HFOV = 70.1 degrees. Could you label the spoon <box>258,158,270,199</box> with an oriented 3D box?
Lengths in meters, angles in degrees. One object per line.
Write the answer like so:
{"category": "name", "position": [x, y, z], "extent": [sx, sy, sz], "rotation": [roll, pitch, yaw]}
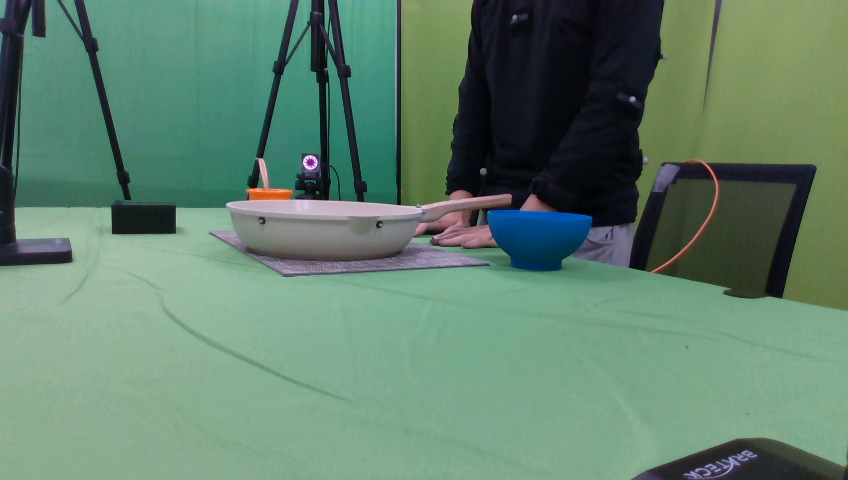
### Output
{"category": "spoon", "position": [-0.332, -0.107, 1.269], "extent": [0.042, 0.021, 0.193], "rotation": [0, 53, -23]}

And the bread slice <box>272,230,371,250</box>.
{"category": "bread slice", "position": [-0.148, 0.000, 0.929], "extent": [0.133, 0.018, 0.107], "rotation": [6, 8, 38]}

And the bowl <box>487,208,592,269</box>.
{"category": "bowl", "position": [0.164, -0.003, 0.875], "extent": [0.151, 0.077, 0.151], "rotation": [2, 7, 0]}

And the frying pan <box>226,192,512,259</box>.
{"category": "frying pan", "position": [-0.058, -0.041, 0.975], "extent": [0.490, 0.102, 0.305], "rotation": [-11, 13, -26]}
